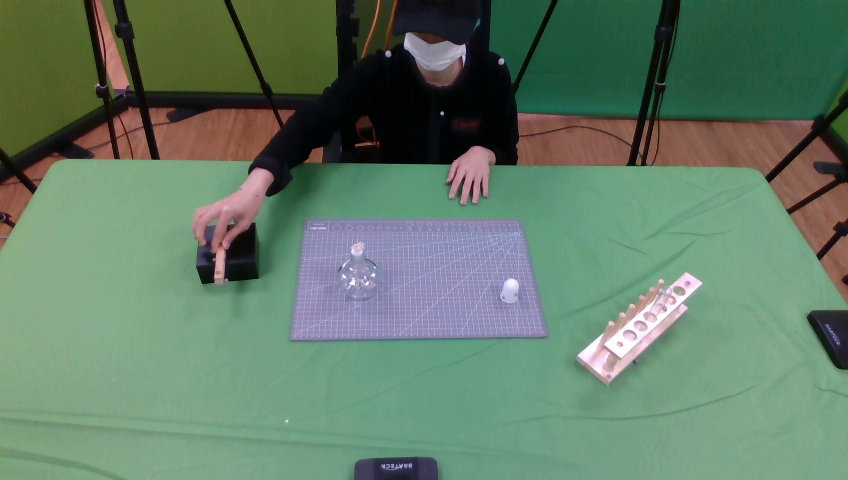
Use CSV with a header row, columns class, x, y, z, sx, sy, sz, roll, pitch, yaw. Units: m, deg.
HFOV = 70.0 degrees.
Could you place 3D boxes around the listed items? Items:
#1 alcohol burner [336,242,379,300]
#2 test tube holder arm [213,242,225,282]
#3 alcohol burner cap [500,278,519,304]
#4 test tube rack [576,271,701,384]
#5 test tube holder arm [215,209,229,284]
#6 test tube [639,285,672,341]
class,x,y,z,sx,sy,sz,roll,pitch,yaw
alcohol burner,-0.118,0.050,1.072,0.078,0.120,0.077,2,44,-1
test tube holder arm,-0.358,0.037,1.062,0.015,0.010,0.087,-3,46,-10
alcohol burner cap,0.157,0.090,1.104,0.034,0.048,0.033,2,46,-2
test tube rack,0.373,0.138,1.048,0.242,0.085,0.066,-31,56,-29
test tube holder arm,-0.366,0.008,1.096,0.015,0.013,0.177,-3,47,-10
test tube,0.374,0.123,0.994,0.017,0.151,0.017,1,50,-1
